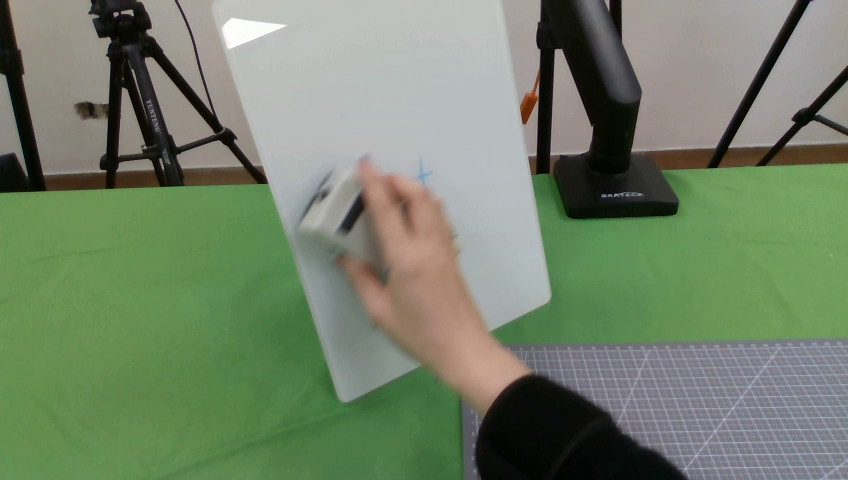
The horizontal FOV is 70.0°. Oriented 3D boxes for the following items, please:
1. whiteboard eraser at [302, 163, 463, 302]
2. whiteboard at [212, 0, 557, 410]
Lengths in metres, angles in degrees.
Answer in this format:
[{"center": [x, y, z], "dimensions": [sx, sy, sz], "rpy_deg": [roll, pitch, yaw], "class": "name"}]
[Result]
[{"center": [-0.028, -0.004, 0.437], "dimensions": [0.041, 0.114, 0.055], "rpy_deg": [12, 71, 59], "class": "whiteboard eraser"}, {"center": [-0.035, -0.058, 0.520], "dimensions": [0.217, 0.307, 0.142], "rpy_deg": [-22, 21, -23], "class": "whiteboard"}]
